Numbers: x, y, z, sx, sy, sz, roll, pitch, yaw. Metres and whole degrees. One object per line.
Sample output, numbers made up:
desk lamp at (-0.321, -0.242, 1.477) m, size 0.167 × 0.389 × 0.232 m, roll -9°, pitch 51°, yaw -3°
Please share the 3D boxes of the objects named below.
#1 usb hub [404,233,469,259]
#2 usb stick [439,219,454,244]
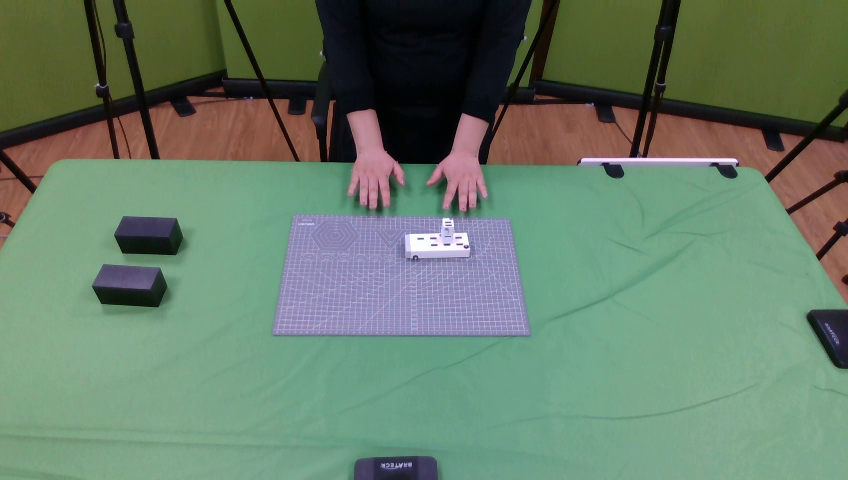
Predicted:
usb hub at (0.024, 0.012, 1.181) m, size 0.125 × 0.025 × 0.049 m, roll -2°, pitch 47°, yaw -5°
usb stick at (0.042, -0.011, 1.166) m, size 0.021 × 0.059 × 0.027 m, roll -2°, pitch 48°, yaw -10°
